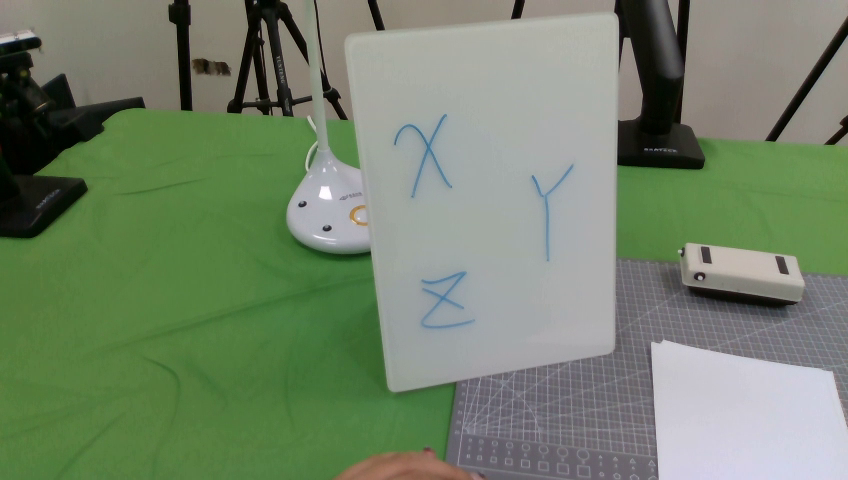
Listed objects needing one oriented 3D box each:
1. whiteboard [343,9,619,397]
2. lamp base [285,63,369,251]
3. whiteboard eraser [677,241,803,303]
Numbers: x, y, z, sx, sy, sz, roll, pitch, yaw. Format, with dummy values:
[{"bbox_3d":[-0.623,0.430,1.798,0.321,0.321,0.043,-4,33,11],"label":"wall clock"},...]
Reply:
[{"bbox_3d":[0.049,-0.041,0.566,0.217,0.307,0.143,-8,18,-8],"label":"whiteboard"},{"bbox_3d":[-0.100,-0.105,0.711,0.161,0.182,0.177,-27,42,-30],"label":"lamp base"},{"bbox_3d":[0.324,0.034,0.629,0.112,0.042,0.055,8,39,12],"label":"whiteboard eraser"}]
